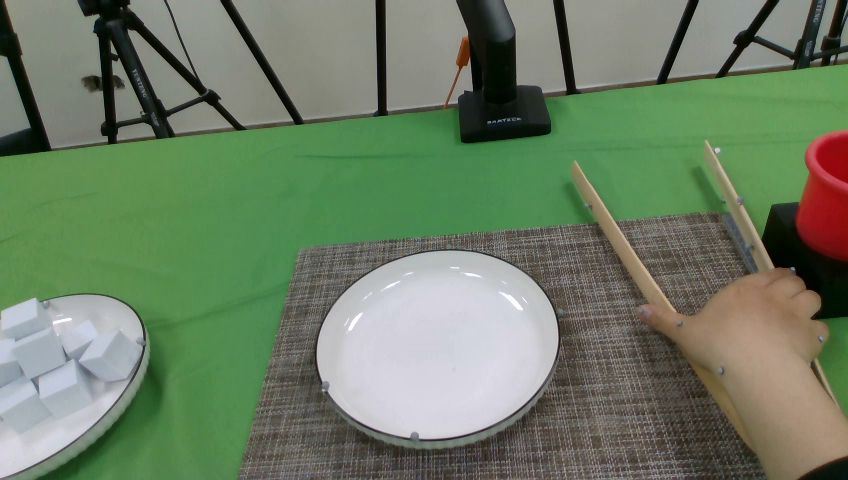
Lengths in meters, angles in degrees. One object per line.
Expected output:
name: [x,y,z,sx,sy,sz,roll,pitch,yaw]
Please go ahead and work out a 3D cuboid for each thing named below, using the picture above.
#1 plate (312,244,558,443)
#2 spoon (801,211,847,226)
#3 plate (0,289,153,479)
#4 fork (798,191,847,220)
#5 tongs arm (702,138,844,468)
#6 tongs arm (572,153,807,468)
plate: [0.009,0.086,0.524,0.207,0.039,0.205,-5,41,5]
spoon: [0.371,-0.042,0.442,0.041,0.194,0.021,-28,86,-27]
plate: [-0.346,0.130,0.545,0.209,0.038,0.207,-5,40,5]
fork: [0.399,-0.071,0.472,0.207,0.019,0.028,-38,7,29]
tongs arm: [0.289,0.021,0.550,0.051,0.027,0.381,-2,42,5]
tongs arm: [0.210,0.030,0.554,0.028,0.028,0.383,-8,41,-7]
